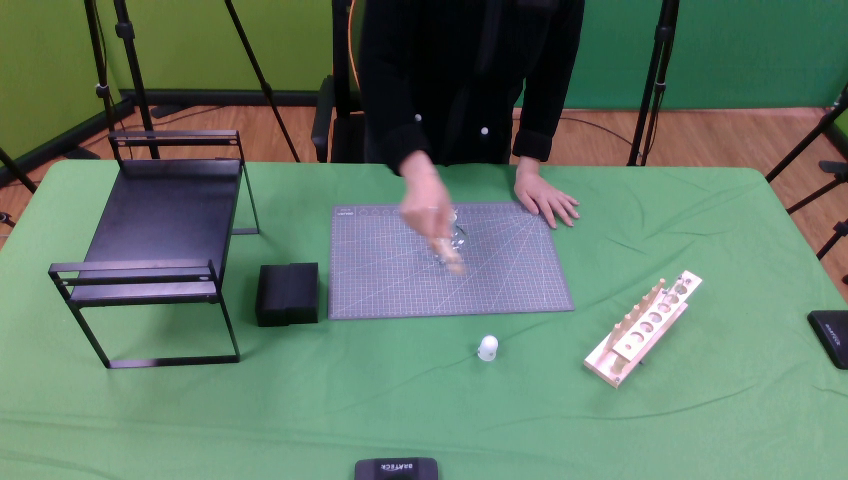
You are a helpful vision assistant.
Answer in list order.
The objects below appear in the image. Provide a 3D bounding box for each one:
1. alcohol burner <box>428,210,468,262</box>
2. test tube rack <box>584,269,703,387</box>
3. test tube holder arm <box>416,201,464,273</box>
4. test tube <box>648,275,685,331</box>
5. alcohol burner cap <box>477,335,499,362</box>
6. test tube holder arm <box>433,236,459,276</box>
[{"bbox_3d":[0.048,-0.015,1.146,0.078,0.119,0.077,3,48,-3],"label":"alcohol burner"},{"bbox_3d":[0.380,0.139,1.046,0.066,0.085,0.242,37,54,28],"label":"test tube rack"},{"bbox_3d":[0.024,-0.008,0.975,0.013,0.015,0.177,-29,44,0],"label":"test tube holder arm"},{"bbox_3d":[0.401,0.109,1.007,0.017,0.151,0.017,0,50,0],"label":"test tube"},{"bbox_3d":[0.109,0.179,1.017,0.034,0.048,0.033,4,51,-4],"label":"alcohol burner cap"},{"bbox_3d":[0.034,0.023,0.943,0.010,0.015,0.087,-28,44,1],"label":"test tube holder arm"}]
